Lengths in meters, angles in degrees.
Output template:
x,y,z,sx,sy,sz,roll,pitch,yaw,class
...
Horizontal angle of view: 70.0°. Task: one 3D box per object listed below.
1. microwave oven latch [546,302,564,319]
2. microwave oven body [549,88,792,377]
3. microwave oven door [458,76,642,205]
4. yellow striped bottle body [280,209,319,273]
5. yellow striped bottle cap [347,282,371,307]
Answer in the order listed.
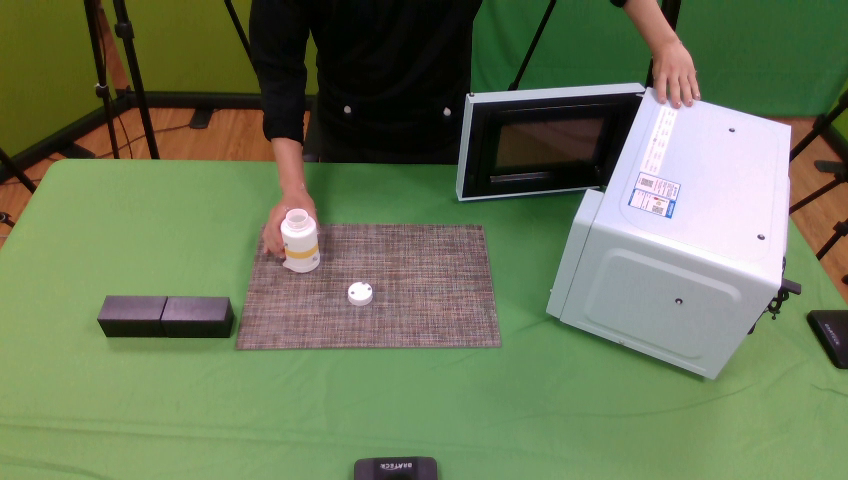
x,y,z,sx,sy,sz,roll,pitch,yaw,class
0.242,0.102,1.081,0.030,0.029,0.079,21,48,17,microwave oven latch
0.455,-0.028,1.088,0.325,0.261,0.440,20,47,16,microwave oven body
0.250,-0.199,1.227,0.356,0.245,0.039,-9,43,-11,microwave oven door
-0.228,-0.001,1.106,0.063,0.121,0.062,2,46,-2,yellow striped bottle body
-0.117,0.098,1.093,0.044,0.019,0.044,3,45,-3,yellow striped bottle cap
